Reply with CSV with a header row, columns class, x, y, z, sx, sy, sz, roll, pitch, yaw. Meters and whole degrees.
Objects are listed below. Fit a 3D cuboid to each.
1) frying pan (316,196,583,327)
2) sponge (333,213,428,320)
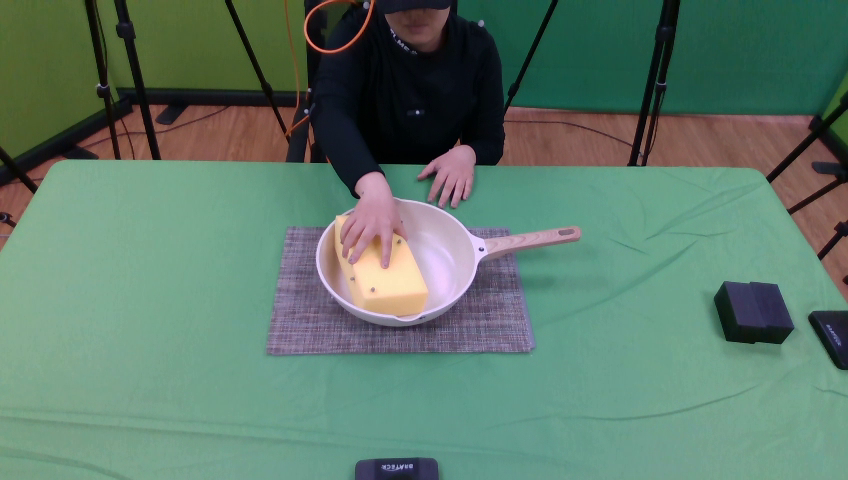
class,x,y,z,sx,sy,sz,roll,pitch,yaw
frying pan,0.053,0.027,1.114,0.488,0.103,0.304,-9,48,-1
sponge,-0.085,0.042,1.099,0.118,0.061,0.205,-5,47,-23
